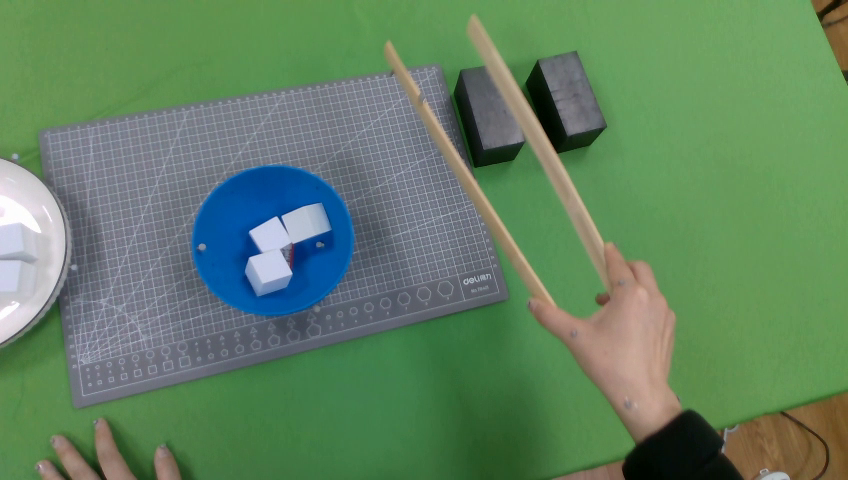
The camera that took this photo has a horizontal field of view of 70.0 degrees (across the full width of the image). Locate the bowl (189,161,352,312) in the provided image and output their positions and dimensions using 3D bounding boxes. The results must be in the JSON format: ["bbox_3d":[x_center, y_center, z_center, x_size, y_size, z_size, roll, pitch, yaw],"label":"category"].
[{"bbox_3d":[-0.149,0.004,0.611,0.152,0.077,0.150,2,75,-7],"label":"bowl"}]

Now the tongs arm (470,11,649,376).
[{"bbox_3d":[0.119,-0.059,0.572,0.028,0.028,0.385,-16,73,-22],"label":"tongs arm"}]

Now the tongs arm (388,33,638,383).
[{"bbox_3d":[0.071,-0.040,0.555,0.051,0.026,0.382,-22,75,-20],"label":"tongs arm"}]

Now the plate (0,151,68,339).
[{"bbox_3d":[-0.454,0.010,0.590,0.208,0.039,0.206,2,76,-6],"label":"plate"}]
